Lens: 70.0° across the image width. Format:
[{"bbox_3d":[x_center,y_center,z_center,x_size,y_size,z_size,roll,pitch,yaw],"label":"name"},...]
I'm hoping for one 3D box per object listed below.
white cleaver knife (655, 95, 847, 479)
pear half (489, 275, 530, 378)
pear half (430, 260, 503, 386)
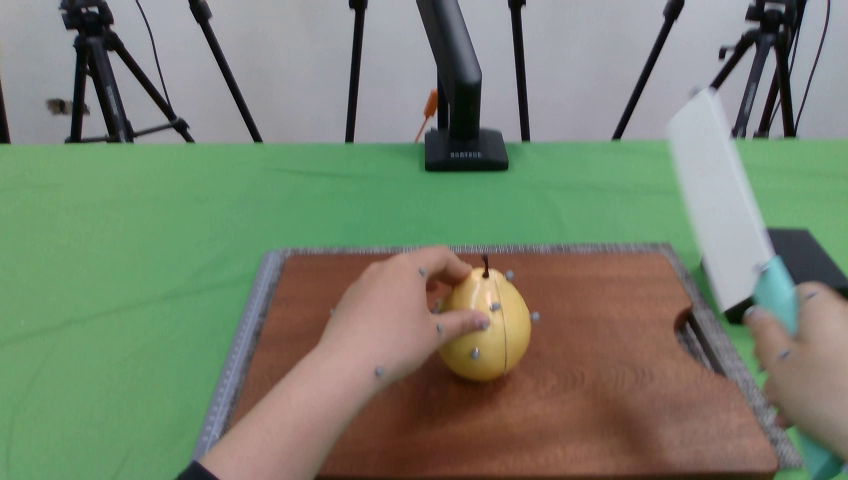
[{"bbox_3d":[0.218,0.020,0.422,0.021,0.066,0.283,1,60,-11],"label":"white cleaver knife"},{"bbox_3d":[0.069,0.067,0.489,0.031,0.088,0.070,-7,26,-11],"label":"pear half"},{"bbox_3d":[0.033,0.063,0.479,0.056,0.110,0.075,-7,30,-11],"label":"pear half"}]
